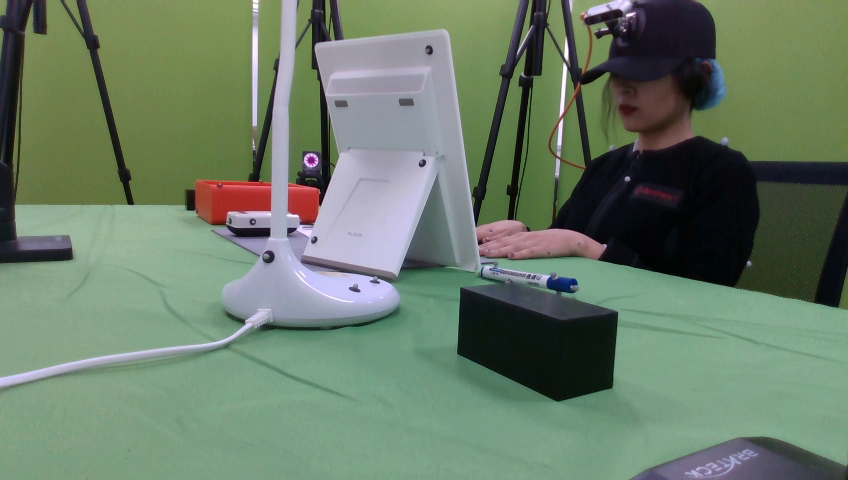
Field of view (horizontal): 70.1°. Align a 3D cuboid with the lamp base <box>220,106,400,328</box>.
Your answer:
[{"bbox_3d":[-0.102,-0.023,0.531,0.160,0.180,0.179,4,10,10],"label":"lamp base"}]

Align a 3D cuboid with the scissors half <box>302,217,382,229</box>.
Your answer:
[{"bbox_3d":[-0.161,-0.031,1.198,0.176,0.013,0.040,-8,21,-39],"label":"scissors half"}]

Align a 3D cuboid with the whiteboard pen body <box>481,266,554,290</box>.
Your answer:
[{"bbox_3d":[0.115,0.044,0.695,0.017,0.017,0.140,-3,6,-35],"label":"whiteboard pen body"}]

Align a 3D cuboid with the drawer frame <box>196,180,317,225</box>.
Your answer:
[{"bbox_3d":[-0.359,-0.083,1.292,0.215,0.082,0.200,-2,10,-30],"label":"drawer frame"}]

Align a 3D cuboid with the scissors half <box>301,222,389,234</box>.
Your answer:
[{"bbox_3d":[-0.152,-0.024,1.182,0.176,0.013,0.040,0,23,-20],"label":"scissors half"}]

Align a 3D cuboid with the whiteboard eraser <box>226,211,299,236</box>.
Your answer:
[{"bbox_3d":[-0.276,-0.028,1.035,0.113,0.042,0.055,-3,7,-35],"label":"whiteboard eraser"}]

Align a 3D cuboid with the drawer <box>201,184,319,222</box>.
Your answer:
[{"bbox_3d":[-0.353,-0.082,1.296,0.213,0.073,0.193,-2,10,-28],"label":"drawer"}]

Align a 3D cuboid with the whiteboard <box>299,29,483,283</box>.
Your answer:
[{"bbox_3d":[-0.074,-0.082,0.742,0.216,0.305,0.144,9,29,38],"label":"whiteboard"}]

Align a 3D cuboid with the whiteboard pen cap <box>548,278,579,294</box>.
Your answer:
[{"bbox_3d":[0.148,0.049,0.647,0.018,0.018,0.033,-3,3,-36],"label":"whiteboard pen cap"}]
